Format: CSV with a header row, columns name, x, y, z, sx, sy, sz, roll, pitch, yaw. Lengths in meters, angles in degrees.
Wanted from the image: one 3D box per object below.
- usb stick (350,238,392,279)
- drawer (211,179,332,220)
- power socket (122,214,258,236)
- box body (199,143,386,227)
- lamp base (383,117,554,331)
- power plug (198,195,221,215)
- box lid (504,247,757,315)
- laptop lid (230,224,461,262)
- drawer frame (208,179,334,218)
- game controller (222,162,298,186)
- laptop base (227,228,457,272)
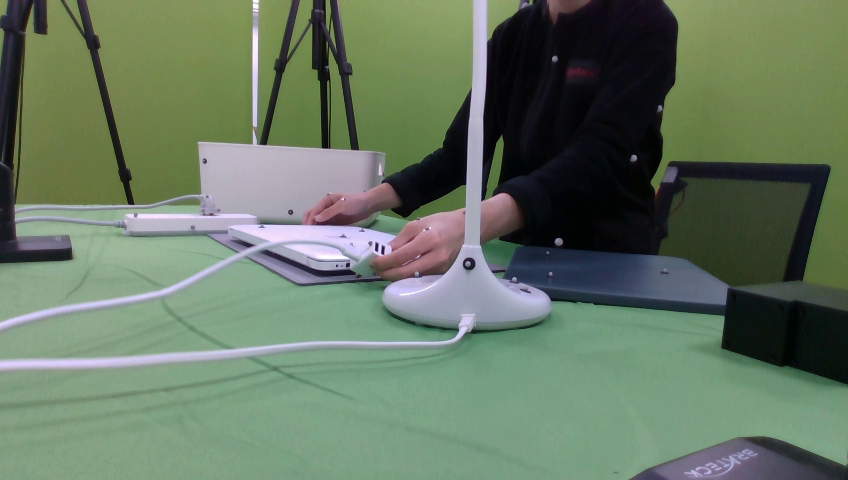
name,x,y,z,sx,sy,sz,roll,pitch,yaw
usb stick,-0.063,0.024,0.671,0.027,0.021,0.059,25,-44,-28
drawer,-0.328,-0.095,1.332,0.212,0.073,0.194,5,8,6
power socket,-0.399,-0.028,1.049,0.228,0.032,0.072,-3,8,-34
box body,-0.276,-0.124,1.335,0.364,0.160,0.254,3,7,1
lamp base,0.045,-0.019,0.547,0.161,0.180,0.179,2,10,-4
power plug,-0.387,-0.055,1.089,0.035,0.052,0.072,-1,6,-22
box lid,0.244,0.044,0.793,0.263,0.015,0.372,4,7,10
laptop lid,-0.119,0.000,0.889,0.243,0.013,0.355,1,7,-33
drawer frame,-0.327,-0.093,1.328,0.213,0.082,0.202,0,5,6
game controller,-0.357,-0.143,1.321,0.156,0.051,0.097,1,2,-16
laptop base,-0.122,0.012,0.889,0.237,0.023,0.352,1,6,-35
